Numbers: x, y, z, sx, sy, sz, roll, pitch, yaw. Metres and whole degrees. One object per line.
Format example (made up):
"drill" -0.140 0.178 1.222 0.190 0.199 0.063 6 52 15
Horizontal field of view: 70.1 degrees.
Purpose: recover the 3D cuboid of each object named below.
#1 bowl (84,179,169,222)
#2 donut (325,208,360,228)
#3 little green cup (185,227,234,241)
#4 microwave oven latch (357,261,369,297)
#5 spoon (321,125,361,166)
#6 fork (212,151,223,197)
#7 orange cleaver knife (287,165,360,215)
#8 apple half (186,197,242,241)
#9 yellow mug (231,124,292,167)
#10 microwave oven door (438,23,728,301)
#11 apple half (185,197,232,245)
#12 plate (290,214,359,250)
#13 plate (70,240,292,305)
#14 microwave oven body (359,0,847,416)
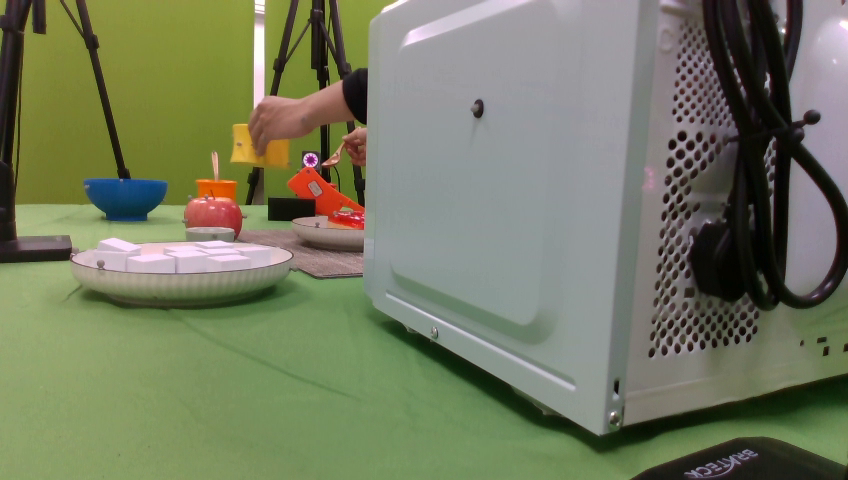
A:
"bowl" -0.584 -0.078 1.194 0.151 0.077 0.151 3 8 0
"donut" -0.111 -0.025 0.974 0.099 0.048 0.099 5 8 0
"little green cup" -0.285 0.005 0.805 0.061 0.038 0.061 2 8 0
"microwave oven latch" -0.019 0.033 0.530 0.079 0.029 0.030 -1 7 -26
"spoon" -0.203 -0.241 1.524 0.041 0.022 0.194 -2 42 31
"fork" -0.494 -0.143 1.442 0.028 0.018 0.206 -2 52 -20
"orange cleaver knife" -0.210 -0.093 1.382 0.212 0.077 0.012 33 1 -15
"apple half" -0.306 -0.026 0.904 0.053 0.074 0.081 14 10 37
"yellow mug" -0.281 -0.164 1.052 0.100 0.064 0.130 3 3 -20
"microwave oven door" 0.181 -0.072 0.621 0.358 0.243 0.039 -2 8 -29
"apple half" -0.337 -0.031 0.927 0.032 0.081 0.082 13 12 37
"plate" -0.110 -0.014 0.974 0.209 0.038 0.209 3 8 0
"plate" -0.242 0.032 0.618 0.208 0.039 0.207 2 7 0
"microwave oven body" 0.211 -0.047 0.474 0.444 0.260 0.324 -1 7 -28
